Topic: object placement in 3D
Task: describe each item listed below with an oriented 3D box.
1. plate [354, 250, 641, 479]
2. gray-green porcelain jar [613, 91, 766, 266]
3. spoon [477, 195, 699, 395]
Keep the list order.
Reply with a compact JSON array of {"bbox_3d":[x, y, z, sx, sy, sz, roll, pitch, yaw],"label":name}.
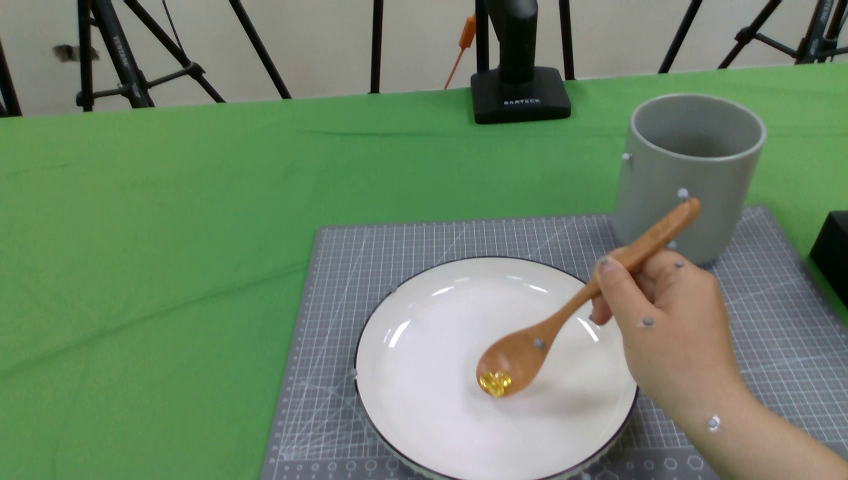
[{"bbox_3d":[0.053,0.091,0.459,0.207,0.039,0.205,-3,42,3],"label":"plate"},{"bbox_3d":[0.224,-0.049,0.531,0.106,0.128,0.105,-3,42,3],"label":"gray-green porcelain jar"},{"bbox_3d":[0.105,0.040,0.404,0.022,0.194,0.041,12,38,-45],"label":"spoon"}]
